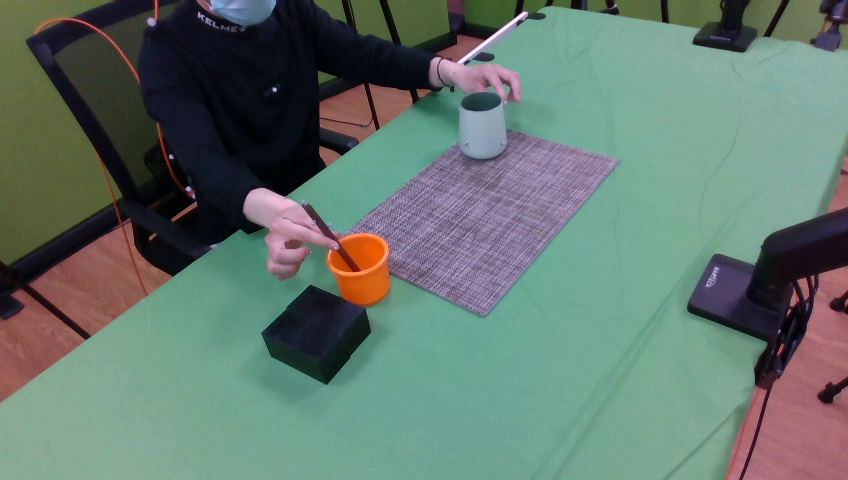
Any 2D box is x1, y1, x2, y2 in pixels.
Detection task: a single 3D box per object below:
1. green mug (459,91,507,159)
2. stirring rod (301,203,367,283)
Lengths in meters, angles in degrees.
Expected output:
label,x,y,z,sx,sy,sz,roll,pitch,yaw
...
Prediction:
label,x,y,z,sx,sy,sz,roll,pitch,yaw
green mug,0.116,-0.225,1.144,0.092,0.105,0.125,14,45,23
stirring rod,-0.122,0.008,0.843,0.014,0.177,0.006,1,52,29
